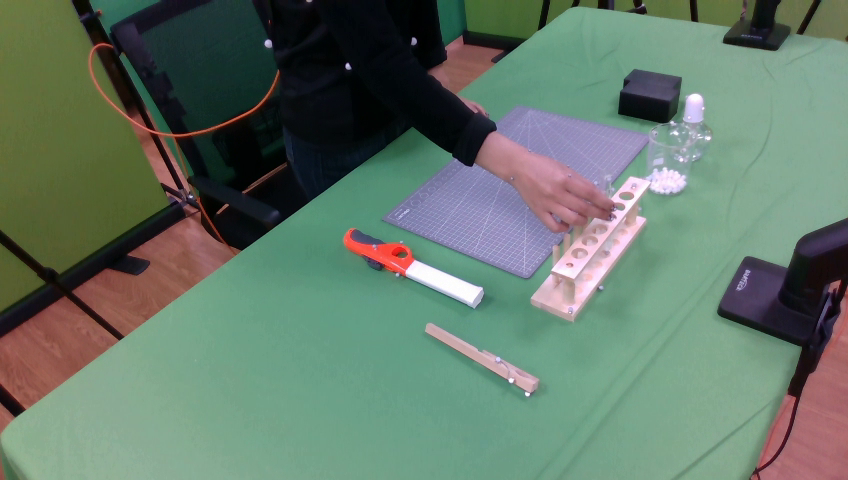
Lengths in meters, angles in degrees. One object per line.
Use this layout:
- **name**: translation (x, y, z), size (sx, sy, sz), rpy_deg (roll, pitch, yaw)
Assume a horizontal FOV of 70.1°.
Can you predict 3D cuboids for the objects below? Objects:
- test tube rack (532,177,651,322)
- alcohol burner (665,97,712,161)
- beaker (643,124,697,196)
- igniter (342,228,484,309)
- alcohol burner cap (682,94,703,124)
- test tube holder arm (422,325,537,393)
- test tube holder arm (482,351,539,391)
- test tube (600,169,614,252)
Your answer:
- **test tube rack**: translation (0.247, 0.002, 0.883), size (0.066, 0.085, 0.243), rpy_deg (22, 49, 32)
- **alcohol burner**: translation (0.466, -0.198, 1.057), size (0.078, 0.119, 0.077), rpy_deg (-4, 41, 4)
- **beaker**: translation (0.407, -0.132, 1.001), size (0.084, 0.101, 0.073), rpy_deg (-20, 41, -13)
- **igniter**: translation (-0.028, 0.039, 0.936), size (0.274, 0.025, 0.057), rpy_deg (23, 60, 32)
- **alcohol burner cap**: translation (0.460, -0.225, 1.033), size (0.034, 0.048, 0.033), rpy_deg (-8, 34, 6)
- **test tube holder arm**: translation (0.068, 0.152, 0.789), size (0.177, 0.015, 0.013), rpy_deg (23, 15, 32)
- **test tube holder arm**: translation (0.106, 0.166, 0.769), size (0.087, 0.015, 0.010), rpy_deg (24, 15, 34)
- **test tube**: translation (0.258, -0.038, 0.850), size (0.017, 0.151, 0.017), rpy_deg (-9, 43, 9)
